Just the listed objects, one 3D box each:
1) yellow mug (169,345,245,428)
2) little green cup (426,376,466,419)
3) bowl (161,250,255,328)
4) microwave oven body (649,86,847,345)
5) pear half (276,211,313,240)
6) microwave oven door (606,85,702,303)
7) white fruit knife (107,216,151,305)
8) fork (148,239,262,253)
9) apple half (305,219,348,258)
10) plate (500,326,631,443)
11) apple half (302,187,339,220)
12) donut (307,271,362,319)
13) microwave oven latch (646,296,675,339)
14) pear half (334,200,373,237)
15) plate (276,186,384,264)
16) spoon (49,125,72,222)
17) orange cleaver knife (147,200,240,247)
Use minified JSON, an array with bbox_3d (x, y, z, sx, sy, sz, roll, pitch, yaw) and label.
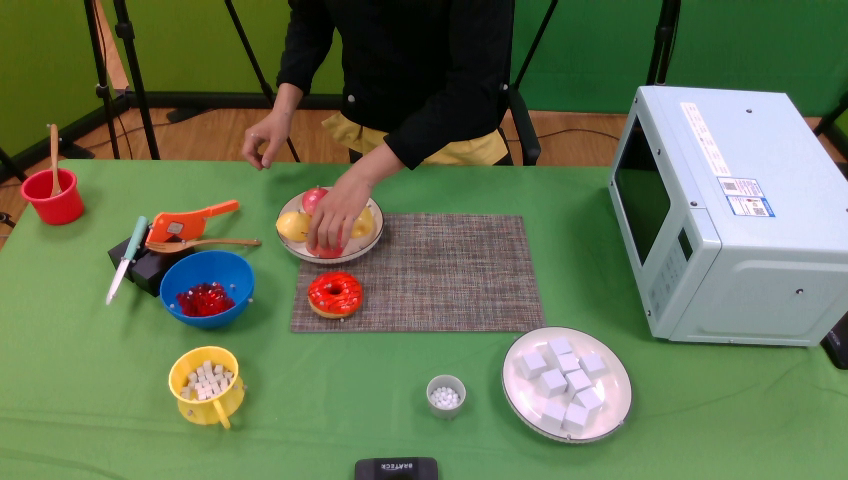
[{"bbox_3d":[-0.322,0.230,0.922,0.100,0.064,0.130,-24,53,-25],"label":"yellow mug"},{"bbox_3d":[0.033,0.248,0.950,0.061,0.039,0.061,2,46,-2],"label":"little green cup"},{"bbox_3d":[-0.362,0.097,1.040,0.151,0.077,0.150,2,45,-2],"label":"bowl"},{"bbox_3d":[0.568,-0.053,1.118,0.326,0.261,0.439,2,45,-1],"label":"microwave oven body"},{"bbox_3d":[-0.244,-0.035,1.179,0.070,0.031,0.088,42,39,1],"label":"pear half"},{"bbox_3d":[0.423,-0.094,1.140,0.039,0.245,0.353,2,46,-1],"label":"microwave oven door"},{"bbox_3d":[-0.518,0.032,1.066,0.027,0.016,0.206,-19,45,19],"label":"white fruit knife"},{"bbox_3d":[-0.398,0.008,1.117,0.208,0.019,0.028,-5,35,-37],"label":"fork"},{"bbox_3d":[-0.179,-0.007,1.140,0.075,0.053,0.080,27,38,-5],"label":"apple half"},{"bbox_3d":[0.224,0.234,0.978,0.208,0.039,0.206,2,46,-2],"label":"plate"},{"bbox_3d":[-0.204,-0.077,1.216,0.081,0.033,0.081,19,46,-21],"label":"apple half"},{"bbox_3d":[-0.157,0.097,1.073,0.099,0.048,0.098,4,45,-4],"label":"donut"},{"bbox_3d":[0.412,0.134,1.061,0.030,0.029,0.078,4,45,1],"label":"microwave oven latch"},{"bbox_3d":[-0.147,-0.059,1.210,0.076,0.056,0.109,-16,41,-25],"label":"pear half"},{"bbox_3d":[-0.184,-0.027,1.195,0.209,0.038,0.208,2,46,-2],"label":"plate"},{"bbox_3d":[-0.717,-0.131,1.189,0.042,0.021,0.193,-3,90,-7],"label":"spoon"},{"bbox_3d":[-0.435,-0.033,1.157,0.012,0.077,0.211,31,26,18],"label":"orange cleaver knife"}]
